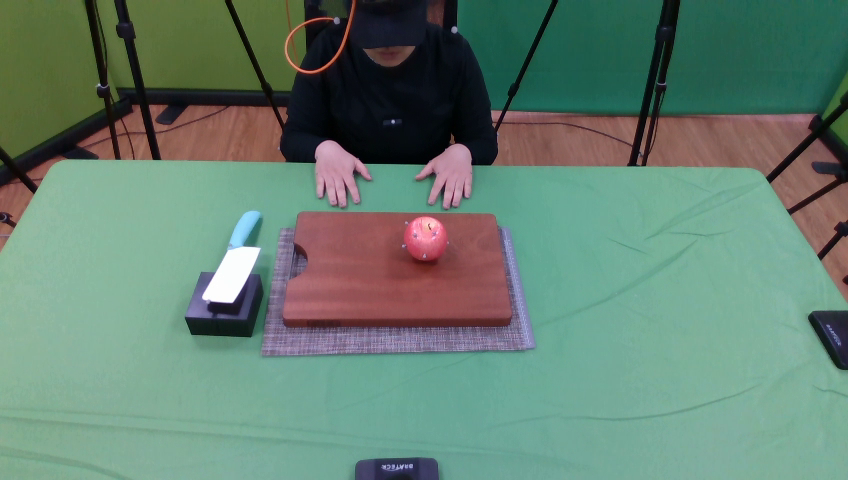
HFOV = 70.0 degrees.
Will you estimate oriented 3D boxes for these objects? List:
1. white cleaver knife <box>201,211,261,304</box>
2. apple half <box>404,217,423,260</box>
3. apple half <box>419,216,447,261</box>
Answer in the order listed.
[{"bbox_3d":[-0.336,0.029,1.110,0.066,0.021,0.285,6,34,-3],"label":"white cleaver knife"},{"bbox_3d":[-0.022,-0.002,1.121,0.033,0.081,0.081,3,46,-7],"label":"apple half"},{"bbox_3d":[0.016,0.000,1.125,0.053,0.075,0.080,4,43,-6],"label":"apple half"}]
